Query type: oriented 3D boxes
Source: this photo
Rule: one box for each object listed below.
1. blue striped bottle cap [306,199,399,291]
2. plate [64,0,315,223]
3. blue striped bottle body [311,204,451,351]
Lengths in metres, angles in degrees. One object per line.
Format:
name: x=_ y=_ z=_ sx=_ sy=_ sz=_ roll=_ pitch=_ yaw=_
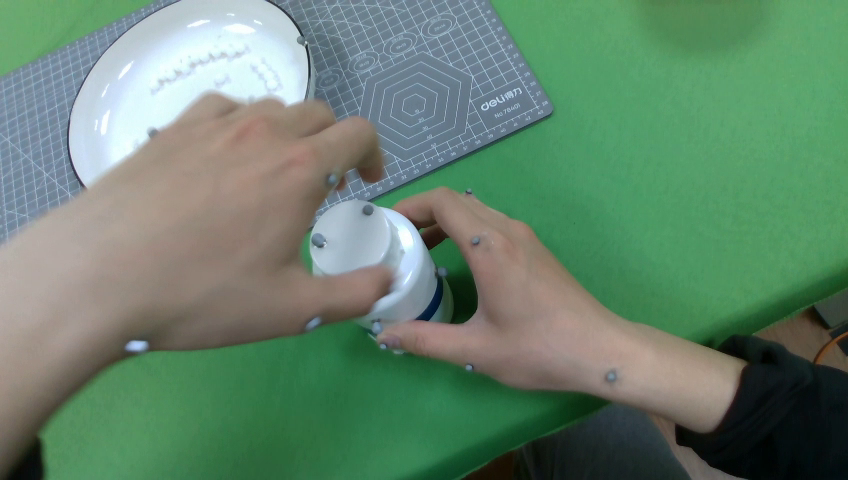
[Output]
blue striped bottle cap: x=-0.036 y=0.002 z=0.307 sx=0.044 sy=0.021 sz=0.044 roll=-5 pitch=66 yaw=13
plate: x=-0.182 y=-0.105 z=0.485 sx=0.207 sy=0.039 sz=0.206 roll=-5 pitch=67 yaw=11
blue striped bottle body: x=-0.024 y=0.022 z=0.355 sx=0.063 sy=0.122 sz=0.062 roll=-5 pitch=66 yaw=11
